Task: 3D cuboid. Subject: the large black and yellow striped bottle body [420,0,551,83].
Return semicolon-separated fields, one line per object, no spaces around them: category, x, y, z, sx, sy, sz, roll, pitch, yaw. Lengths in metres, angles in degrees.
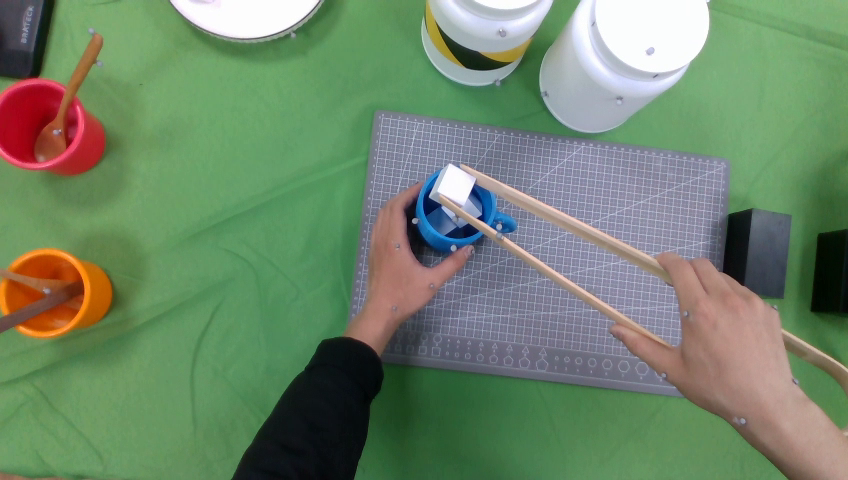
large black and yellow striped bottle body;0.066;-0.264;0.663;0.131;0.184;0.130;0;84;-4

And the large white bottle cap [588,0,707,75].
large white bottle cap;0.217;-0.218;0.587;0.115;0.018;0.114;1;85;-5

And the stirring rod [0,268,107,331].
stirring rod;-0.407;0.072;0.619;0.014;0.006;0.176;54;41;-1

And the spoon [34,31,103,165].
spoon;-0.374;-0.145;0.637;0.194;0.021;0.041;-40;84;37

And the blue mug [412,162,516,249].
blue mug;0.046;-0.031;0.679;0.117;0.106;0.082;15;83;-4

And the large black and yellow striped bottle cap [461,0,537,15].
large black and yellow striped bottle cap;0.072;-0.274;0.581;0.115;0.019;0.115;0;86;-6

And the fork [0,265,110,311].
fork;-0.425;0.031;0.615;0.209;0.018;0.028;32;79;-45

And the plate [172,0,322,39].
plate;-0.209;-0.336;0.720;0.208;0.039;0.207;0;85;-5

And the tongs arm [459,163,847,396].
tongs arm;0.190;0.028;0.529;0.385;0.028;0.028;32;72;18

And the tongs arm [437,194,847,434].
tongs arm;0.175;0.048;0.524;0.382;0.027;0.050;36;77;19

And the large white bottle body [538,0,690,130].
large white bottle body;0.211;-0.209;0.670;0.131;0.184;0.130;0;85;-4
